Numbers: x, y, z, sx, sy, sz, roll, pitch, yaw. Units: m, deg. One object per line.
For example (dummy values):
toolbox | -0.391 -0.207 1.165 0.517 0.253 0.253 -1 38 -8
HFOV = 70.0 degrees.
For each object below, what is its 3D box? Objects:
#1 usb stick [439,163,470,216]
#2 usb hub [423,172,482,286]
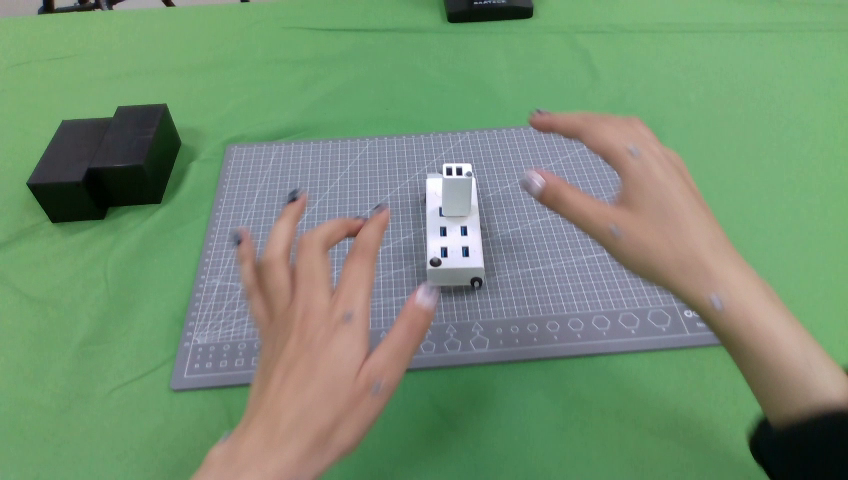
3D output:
usb stick | 0.027 -0.039 0.534 0.027 0.060 0.021 -5 46 1
usb hub | 0.024 -0.013 0.550 0.049 0.025 0.124 -1 46 1
